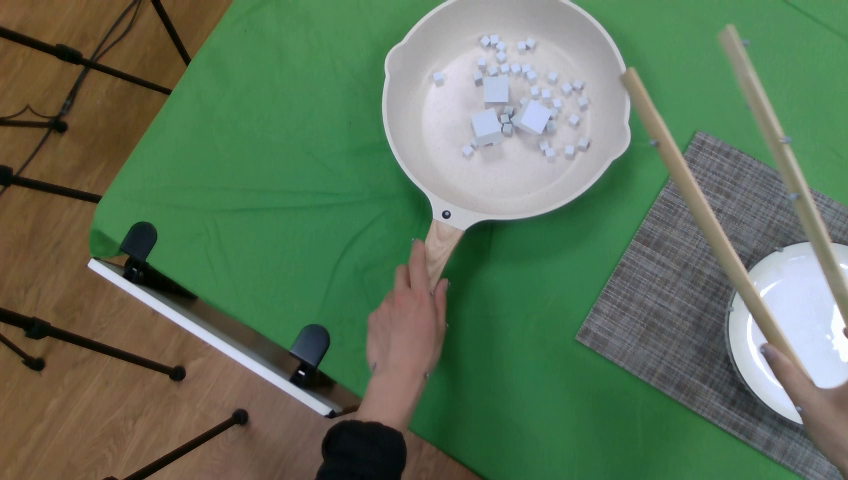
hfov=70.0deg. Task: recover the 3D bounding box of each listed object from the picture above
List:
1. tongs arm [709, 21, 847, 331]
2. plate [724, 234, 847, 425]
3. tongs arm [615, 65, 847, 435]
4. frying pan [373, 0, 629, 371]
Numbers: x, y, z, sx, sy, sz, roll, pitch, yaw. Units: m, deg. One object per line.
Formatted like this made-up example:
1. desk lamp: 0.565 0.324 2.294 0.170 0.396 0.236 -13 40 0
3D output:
1. tongs arm: 0.328 -0.013 0.541 0.051 0.026 0.384 -25 87 -7
2. plate: 0.440 0.098 0.675 0.207 0.039 0.207 -1 80 6
3. tongs arm: 0.277 0.011 0.535 0.028 0.028 0.387 -30 87 -11
4. frying pan: 0.052 -0.073 0.717 0.306 0.103 0.486 23 75 10
